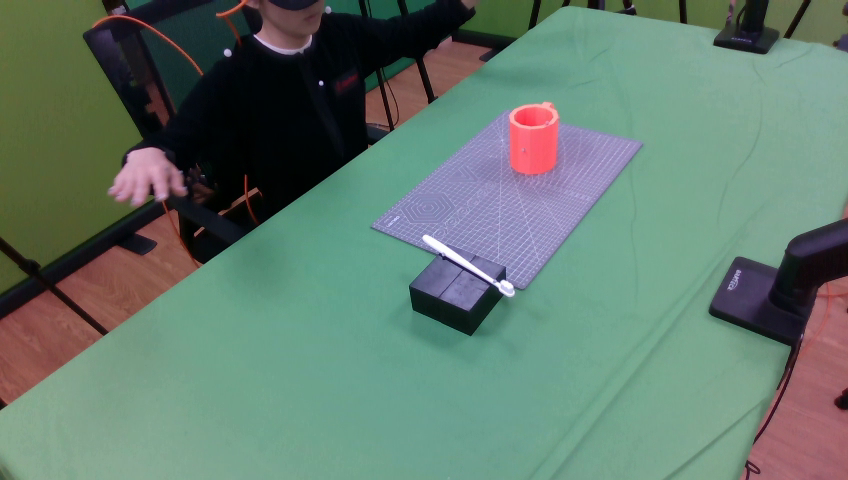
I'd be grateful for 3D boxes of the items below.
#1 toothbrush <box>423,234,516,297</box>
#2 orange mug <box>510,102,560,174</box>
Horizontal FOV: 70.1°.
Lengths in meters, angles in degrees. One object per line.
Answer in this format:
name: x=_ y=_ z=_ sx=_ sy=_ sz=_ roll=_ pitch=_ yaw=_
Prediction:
toothbrush: x=0.060 y=0.031 z=0.859 sx=0.014 sy=0.017 sz=0.180 roll=-36 pitch=48 yaw=-25
orange mug: x=0.210 y=-0.195 z=1.108 sx=0.083 sy=0.101 sz=0.126 roll=16 pitch=50 yaw=26
